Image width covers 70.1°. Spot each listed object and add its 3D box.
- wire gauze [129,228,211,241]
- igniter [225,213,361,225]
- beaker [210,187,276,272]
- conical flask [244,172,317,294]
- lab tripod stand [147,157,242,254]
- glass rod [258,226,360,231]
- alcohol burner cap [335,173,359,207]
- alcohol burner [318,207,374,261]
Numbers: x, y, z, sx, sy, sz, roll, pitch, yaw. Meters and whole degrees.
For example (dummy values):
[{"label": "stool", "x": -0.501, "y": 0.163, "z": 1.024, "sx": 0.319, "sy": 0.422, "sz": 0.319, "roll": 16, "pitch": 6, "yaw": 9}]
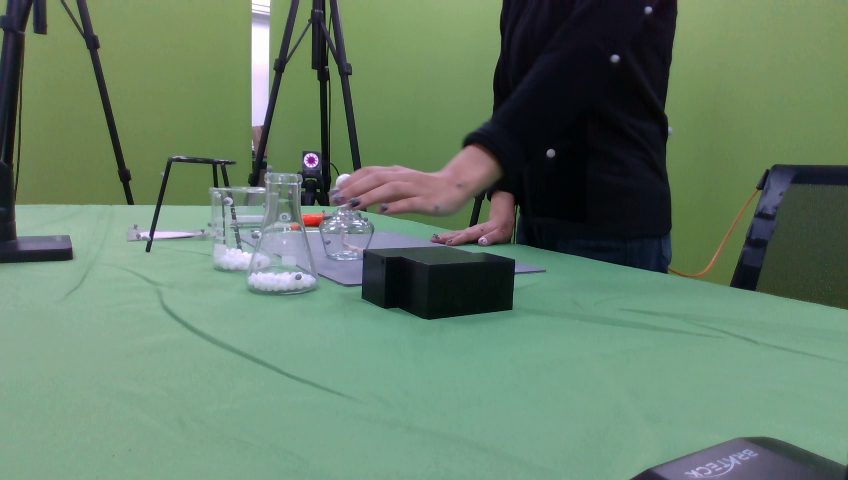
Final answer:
[{"label": "wire gauze", "x": -0.419, "y": -0.010, "z": 0.999, "sx": 0.122, "sy": 0.011, "sz": 0.124, "roll": 0, "pitch": 6, "yaw": -25}, {"label": "igniter", "x": -0.257, "y": -0.042, "z": 1.221, "sx": 0.278, "sy": 0.025, "sz": 0.057, "roll": -2, "pitch": -2, "yaw": -32}, {"label": "beaker", "x": -0.224, "y": -0.014, "z": 0.738, "sx": 0.084, "sy": 0.100, "sz": 0.074, "roll": 4, "pitch": 7, "yaw": 16}, {"label": "conical flask", "x": -0.148, "y": -0.009, "z": 0.628, "sx": 0.075, "sy": 0.122, "sz": 0.075, "roll": 3, "pitch": 7, "yaw": 0}, {"label": "lab tripod stand", "x": -0.310, "y": -0.050, "z": 0.858, "sx": 0.148, "sy": 0.131, "sz": 0.148, "roll": 4, "pitch": 6, "yaw": 0}, {"label": "glass rod", "x": -0.215, "y": -0.022, "z": 1.151, "sx": 0.201, "sy": 0.008, "sz": 0.008, "roll": -2, "pitch": 8, "yaw": -28}, {"label": "alcohol burner cap", "x": -0.108, "y": -0.068, "z": 0.829, "sx": 0.034, "sy": 0.048, "sz": 0.034, "roll": -7, "pitch": 4, "yaw": 1}, {"label": "alcohol burner", "x": -0.107, "y": -0.032, "z": 0.834, "sx": 0.078, "sy": 0.119, "sz": 0.078, "roll": 1, "pitch": 6, "yaw": 0}]
